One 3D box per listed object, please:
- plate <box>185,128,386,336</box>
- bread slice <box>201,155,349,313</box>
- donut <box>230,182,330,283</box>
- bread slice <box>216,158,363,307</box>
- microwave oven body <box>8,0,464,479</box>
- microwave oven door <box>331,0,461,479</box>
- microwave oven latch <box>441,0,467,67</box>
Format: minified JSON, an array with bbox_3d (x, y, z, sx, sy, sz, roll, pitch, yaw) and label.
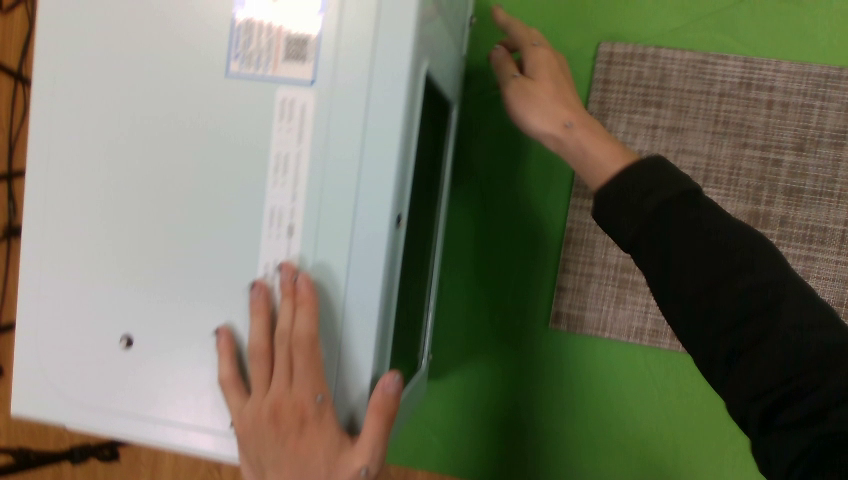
[{"bbox_3d":[-0.138,-0.007,0.617,0.207,0.039,0.207,0,93,8],"label":"plate"},{"bbox_3d":[-0.148,-0.010,0.563,0.105,0.019,0.131,-36,89,12],"label":"bread slice"},{"bbox_3d":[-0.140,-0.007,0.588,0.099,0.048,0.099,0,92,5],"label":"donut"},{"bbox_3d":[-0.144,-0.014,0.612,0.107,0.018,0.134,-40,88,2],"label":"bread slice"},{"bbox_3d":[-0.155,-0.059,0.565,0.325,0.260,0.442,7,95,10],"label":"microwave oven body"},{"bbox_3d":[-0.018,0.000,0.538,0.039,0.244,0.356,7,94,11],"label":"microwave oven door"},{"bbox_3d":[0.028,-0.220,0.620,0.030,0.029,0.079,7,95,10],"label":"microwave oven latch"}]
